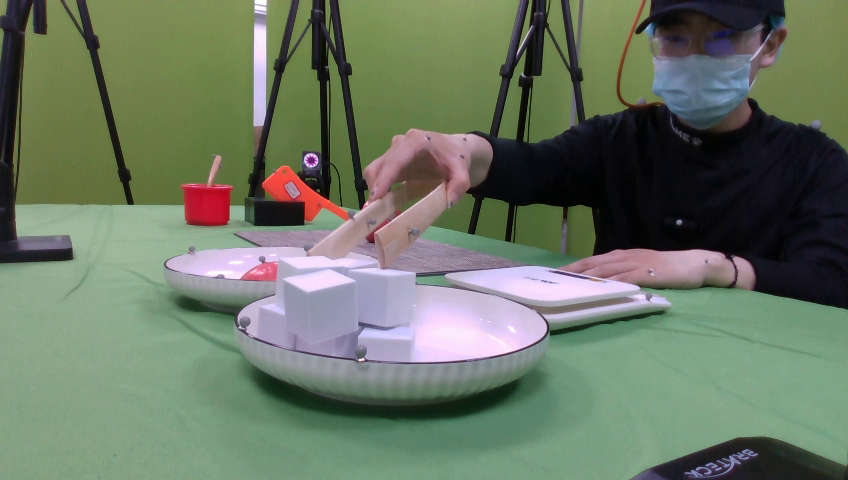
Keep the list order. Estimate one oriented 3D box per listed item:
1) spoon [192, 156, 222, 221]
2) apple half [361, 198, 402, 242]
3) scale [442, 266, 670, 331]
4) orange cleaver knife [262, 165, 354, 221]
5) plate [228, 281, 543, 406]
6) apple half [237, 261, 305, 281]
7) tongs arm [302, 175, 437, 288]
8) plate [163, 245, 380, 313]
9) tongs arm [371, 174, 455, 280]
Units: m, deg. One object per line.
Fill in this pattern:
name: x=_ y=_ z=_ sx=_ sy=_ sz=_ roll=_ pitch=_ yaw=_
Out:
spoon: x=-0.430 y=-0.108 z=1.222 sx=0.041 sy=0.021 sz=0.193 roll=-2 pitch=52 yaw=1
apple half: x=-0.066 y=-0.032 z=1.014 sx=0.053 sy=0.074 sz=0.081 roll=9 pitch=6 yaw=21
scale: x=0.131 y=0.052 z=0.603 sx=0.202 sy=0.031 sz=0.148 roll=-2 pitch=9 yaw=-37
orange cleaver knife: x=-0.243 y=-0.081 z=1.292 sx=0.212 sy=0.077 sz=0.012 roll=34 pitch=-8 yaw=-26
plate: x=-0.025 y=0.067 z=0.413 sx=0.208 sy=0.039 sz=0.207 roll=3 pitch=8 yaw=0
apple half: x=-0.141 y=0.036 z=0.578 sx=0.081 sy=0.033 sz=0.081 roll=2 pitch=11 yaw=0
tongs arm: x=-0.031 y=-0.024 z=0.574 sx=0.051 sy=0.026 sz=0.385 roll=-8 pitch=11 yaw=9
plate: x=-0.145 y=0.038 z=0.600 sx=0.209 sy=0.038 sz=0.209 roll=2 pitch=8 yaw=0
tongs arm: x=-0.001 y=-0.028 z=0.568 sx=0.028 sy=0.028 sz=0.388 roll=-12 pitch=11 yaw=12
